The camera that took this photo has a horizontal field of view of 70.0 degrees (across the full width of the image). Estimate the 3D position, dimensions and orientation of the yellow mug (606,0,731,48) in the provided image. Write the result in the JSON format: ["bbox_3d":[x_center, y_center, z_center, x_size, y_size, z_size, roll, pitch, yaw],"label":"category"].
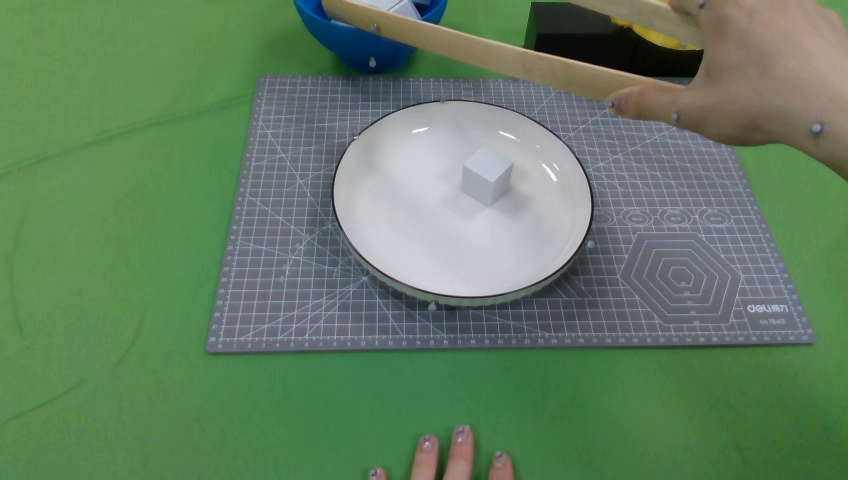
[{"bbox_3d":[0.230,-0.236,0.573,0.131,0.064,0.099,-14,56,-11],"label":"yellow mug"}]

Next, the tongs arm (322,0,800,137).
[{"bbox_3d":[0.060,-0.138,0.445,0.384,0.028,0.028,26,60,31],"label":"tongs arm"}]

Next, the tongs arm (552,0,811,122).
[{"bbox_3d":[0.101,-0.179,0.463,0.381,0.027,0.050,34,68,34],"label":"tongs arm"}]

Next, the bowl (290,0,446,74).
[{"bbox_3d":[-0.054,-0.220,0.602,0.151,0.077,0.150,1,54,-1],"label":"bowl"}]

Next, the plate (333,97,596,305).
[{"bbox_3d":[0.032,-0.034,0.495,0.208,0.039,0.205,1,54,-2],"label":"plate"}]
